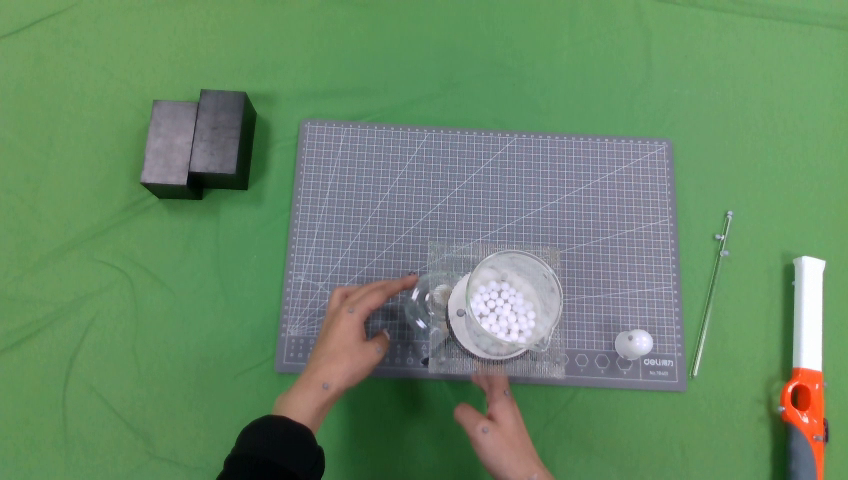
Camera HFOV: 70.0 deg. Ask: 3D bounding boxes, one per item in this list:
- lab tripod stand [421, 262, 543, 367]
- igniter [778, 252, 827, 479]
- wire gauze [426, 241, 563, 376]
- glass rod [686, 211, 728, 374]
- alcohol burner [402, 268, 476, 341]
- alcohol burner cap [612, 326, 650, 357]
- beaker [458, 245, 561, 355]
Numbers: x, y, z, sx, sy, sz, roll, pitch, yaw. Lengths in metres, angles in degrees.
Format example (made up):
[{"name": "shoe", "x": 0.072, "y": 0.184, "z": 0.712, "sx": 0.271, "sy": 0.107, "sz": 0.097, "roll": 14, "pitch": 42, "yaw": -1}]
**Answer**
[{"name": "lab tripod stand", "x": 0.060, "y": 0.079, "z": 0.611, "sx": 0.148, "sy": 0.132, "sz": 0.147, "roll": 0, "pitch": 74, "yaw": 0}, {"name": "igniter", "x": 0.415, "y": 0.148, "z": 0.663, "sx": 0.057, "sy": 0.025, "sz": 0.275, "roll": 13, "pitch": 75, "yaw": -10}, {"name": "wire gauze", "x": 0.063, "y": 0.059, "z": 0.548, "sx": 0.125, "sy": 0.011, "sz": 0.121, "roll": 2, "pitch": 73, "yaw": 1}, {"name": "glass rod", "x": 0.325, "y": 0.057, "z": 0.694, "sx": 0.008, "sy": 0.008, "sz": 0.199, "roll": 19, "pitch": 76, "yaw": 3}, {"name": "alcohol burner", "x": 0.017, "y": 0.062, "z": 0.624, "sx": 0.078, "sy": 0.119, "sz": 0.077, "roll": 1, "pitch": 73, "yaw": -2}, {"name": "alcohol burner cap", "x": 0.227, "y": 0.109, "z": 0.656, "sx": 0.034, "sy": 0.048, "sz": 0.033, "roll": 0, "pitch": 74, "yaw": 0}, {"name": "beaker", "x": 0.067, "y": 0.057, "z": 0.499, "sx": 0.074, "sy": 0.101, "sz": 0.083, "roll": -29, "pitch": 77, "yaw": -9}]
